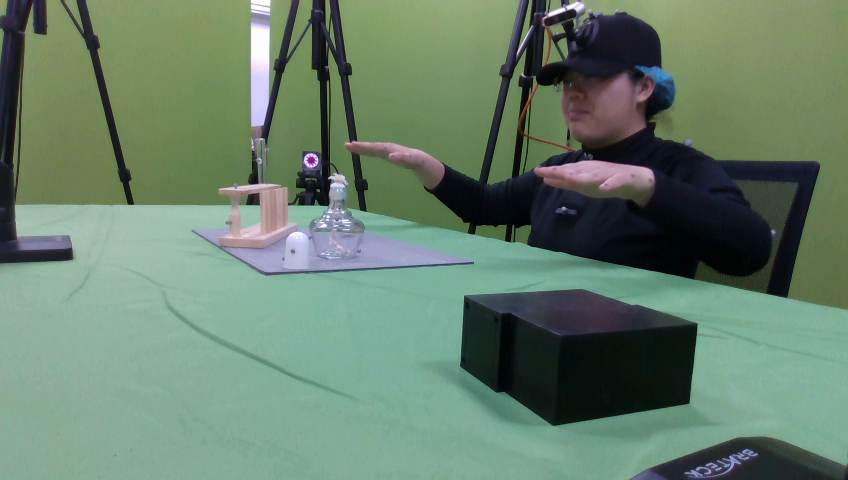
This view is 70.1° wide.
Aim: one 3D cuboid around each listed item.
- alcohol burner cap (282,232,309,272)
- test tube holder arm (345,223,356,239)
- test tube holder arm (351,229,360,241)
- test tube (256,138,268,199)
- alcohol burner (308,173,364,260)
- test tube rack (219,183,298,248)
[{"bbox_3d":[-0.157,0.014,0.740,0.034,0.048,0.034,2,6,0],"label":"alcohol burner cap"},{"bbox_3d":[-0.132,-0.018,1.083,0.013,0.015,0.178,35,0,-12],"label":"test tube holder arm"},{"bbox_3d":[-0.120,-0.010,1.040,0.010,0.015,0.087,35,0,-11],"label":"test tube holder arm"},{"bbox_3d":[-0.284,-0.105,1.066,0.017,0.150,0.017,-1,9,0],"label":"test tube"},{"bbox_3d":[-0.121,-0.033,0.841,0.078,0.119,0.078,3,5,0],"label":"alcohol burner"},{"bbox_3d":[-0.266,-0.046,1.002,0.067,0.085,0.242,3,7,0],"label":"test tube rack"}]
